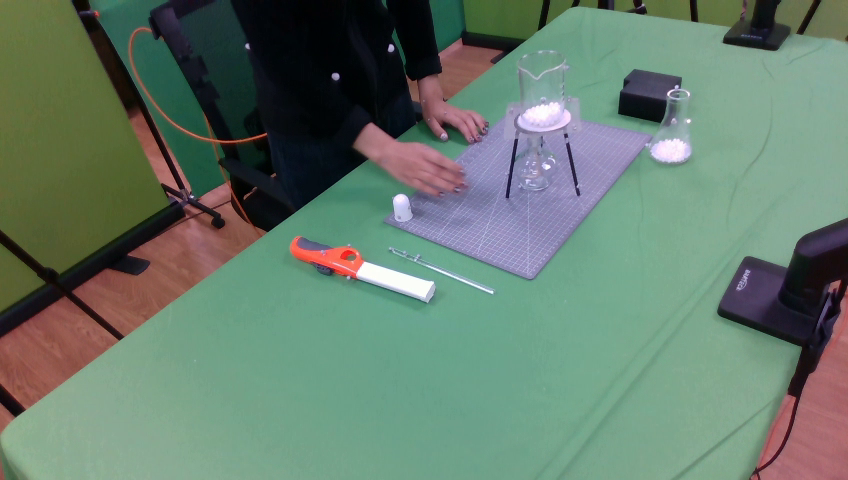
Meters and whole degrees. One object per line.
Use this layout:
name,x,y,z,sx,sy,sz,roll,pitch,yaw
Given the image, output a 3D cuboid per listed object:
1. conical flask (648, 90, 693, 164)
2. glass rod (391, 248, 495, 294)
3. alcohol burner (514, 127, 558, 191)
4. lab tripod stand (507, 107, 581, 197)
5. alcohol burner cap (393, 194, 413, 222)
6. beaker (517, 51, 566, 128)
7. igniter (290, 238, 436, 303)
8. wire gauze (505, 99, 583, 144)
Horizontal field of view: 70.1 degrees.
conical flask,0.437,-0.199,1.057,0.075,0.122,0.075,-5,40,5
glass rod,0.026,0.046,0.936,0.198,0.008,0.008,22,50,32
alcohol burner,0.192,-0.145,1.043,0.078,0.119,0.077,-5,42,5
lab tripod stand,0.201,-0.151,1.033,0.148,0.132,0.147,-7,39,6
alcohol burner cap,-0.038,-0.056,1.038,0.034,0.048,0.033,-5,40,5
beaker,0.187,-0.235,0.957,0.073,0.101,0.084,4,42,18
igniter,-0.106,0.044,0.949,0.274,0.025,0.057,16,56,28
wire gauze,0.195,-0.199,0.988,0.121,0.011,0.124,-3,41,13
